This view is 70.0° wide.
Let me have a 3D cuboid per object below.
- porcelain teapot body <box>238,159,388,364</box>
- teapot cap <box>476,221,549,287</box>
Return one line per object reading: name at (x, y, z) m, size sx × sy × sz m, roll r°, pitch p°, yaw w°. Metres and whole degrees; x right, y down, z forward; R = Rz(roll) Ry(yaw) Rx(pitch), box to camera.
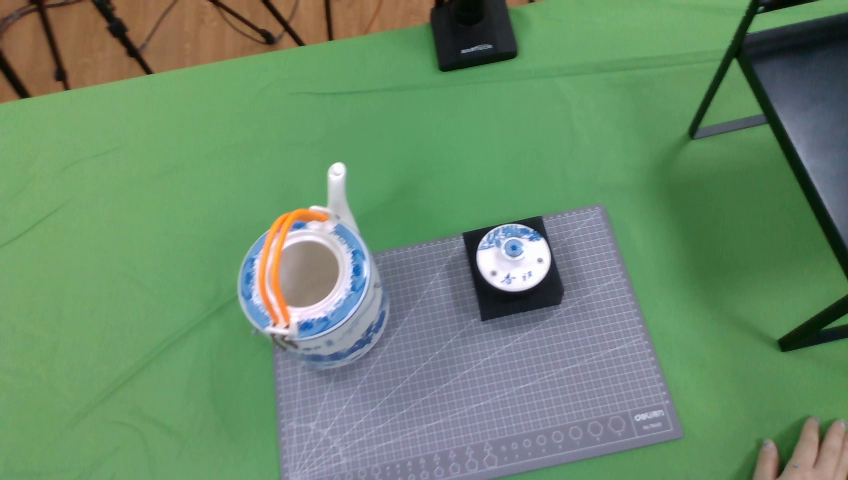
porcelain teapot body at (-0.119, 0.017, 0.673) m, size 0.145 × 0.227 × 0.204 m, roll 8°, pitch 67°, yaw 10°
teapot cap at (0.101, 0.014, 0.697) m, size 0.085 × 0.044 × 0.084 m, roll -3°, pitch 62°, yaw 6°
